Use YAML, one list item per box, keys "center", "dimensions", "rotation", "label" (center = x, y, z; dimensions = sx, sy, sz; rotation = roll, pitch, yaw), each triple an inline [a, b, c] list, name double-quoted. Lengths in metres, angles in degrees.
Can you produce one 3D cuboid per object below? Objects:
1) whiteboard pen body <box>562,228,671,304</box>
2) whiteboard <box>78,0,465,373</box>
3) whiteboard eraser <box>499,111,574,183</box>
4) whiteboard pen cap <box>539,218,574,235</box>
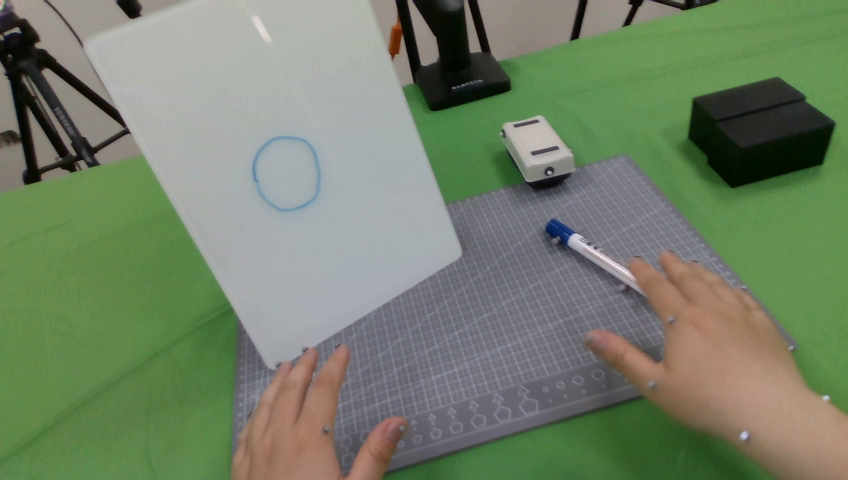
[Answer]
- center: [0.168, 0.017, 0.561]
  dimensions: [0.017, 0.017, 0.139]
  rotation: [-31, 44, -19]
  label: "whiteboard pen body"
- center: [-0.130, -0.078, 0.570]
  dimensions: [0.217, 0.308, 0.142]
  rotation: [-31, 25, -18]
  label: "whiteboard"
- center: [0.126, -0.107, 0.694]
  dimensions: [0.055, 0.042, 0.111]
  rotation: [-16, 37, 0]
  label: "whiteboard eraser"
- center: [0.132, -0.013, 0.601]
  dimensions: [0.033, 0.018, 0.018]
  rotation: [-2, 42, 15]
  label: "whiteboard pen cap"
